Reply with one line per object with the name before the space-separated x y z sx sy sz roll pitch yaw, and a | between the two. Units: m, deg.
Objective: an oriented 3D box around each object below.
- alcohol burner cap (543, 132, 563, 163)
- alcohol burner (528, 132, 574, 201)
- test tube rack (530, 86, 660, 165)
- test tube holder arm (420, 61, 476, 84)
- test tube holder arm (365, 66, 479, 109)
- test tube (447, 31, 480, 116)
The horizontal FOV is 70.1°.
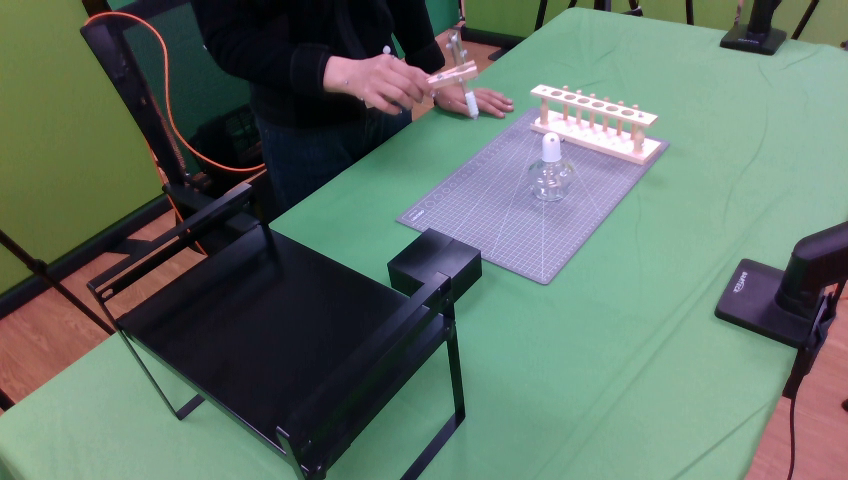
alcohol burner cap | 0.211 -0.154 0.994 0.034 0.048 0.033 -7 35 6
alcohol burner | 0.214 -0.126 1.016 0.078 0.119 0.077 -5 38 5
test tube rack | 0.320 -0.226 1.140 0.240 0.085 0.067 27 51 34
test tube holder arm | 0.037 -0.250 0.919 0.088 0.015 0.010 -21 44 3
test tube holder arm | -0.004 -0.232 0.920 0.178 0.015 0.013 -16 44 8
test tube | 0.062 -0.249 0.919 0.017 0.151 0.017 -11 48 13
